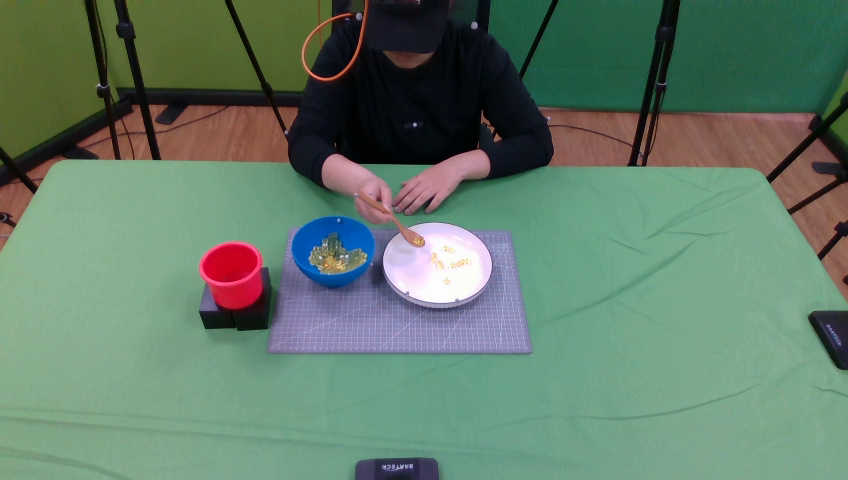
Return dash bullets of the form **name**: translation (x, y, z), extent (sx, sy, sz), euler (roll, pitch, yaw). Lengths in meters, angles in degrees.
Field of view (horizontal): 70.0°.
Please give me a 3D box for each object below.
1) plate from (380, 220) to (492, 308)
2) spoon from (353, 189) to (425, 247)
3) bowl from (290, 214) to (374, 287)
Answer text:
- **plate**: translation (0.022, 0.048, 1.137), extent (0.208, 0.039, 0.206), euler (2, 46, -2)
- **spoon**: translation (-0.061, -0.041, 1.101), extent (0.021, 0.195, 0.041), euler (-28, 44, 21)
- **bowl**: translation (-0.165, 0.032, 1.111), extent (0.151, 0.077, 0.150), euler (2, 46, -2)
